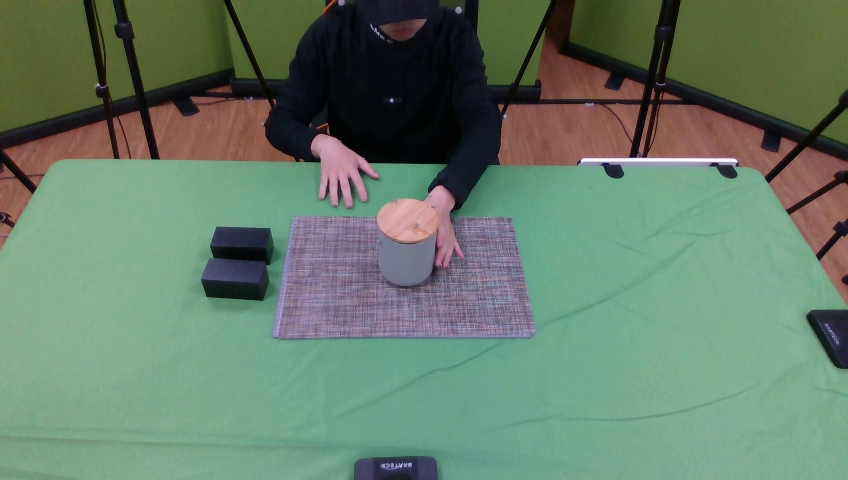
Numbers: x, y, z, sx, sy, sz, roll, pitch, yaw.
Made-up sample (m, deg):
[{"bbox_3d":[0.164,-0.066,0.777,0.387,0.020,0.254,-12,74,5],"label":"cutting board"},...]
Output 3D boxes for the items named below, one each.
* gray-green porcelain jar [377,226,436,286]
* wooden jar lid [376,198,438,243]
[{"bbox_3d":[-0.033,0.014,1.106,0.106,0.127,0.105,2,46,-2],"label":"gray-green porcelain jar"},{"bbox_3d":[-0.029,-0.031,1.059,0.108,0.021,0.107,2,45,-2],"label":"wooden jar lid"}]
